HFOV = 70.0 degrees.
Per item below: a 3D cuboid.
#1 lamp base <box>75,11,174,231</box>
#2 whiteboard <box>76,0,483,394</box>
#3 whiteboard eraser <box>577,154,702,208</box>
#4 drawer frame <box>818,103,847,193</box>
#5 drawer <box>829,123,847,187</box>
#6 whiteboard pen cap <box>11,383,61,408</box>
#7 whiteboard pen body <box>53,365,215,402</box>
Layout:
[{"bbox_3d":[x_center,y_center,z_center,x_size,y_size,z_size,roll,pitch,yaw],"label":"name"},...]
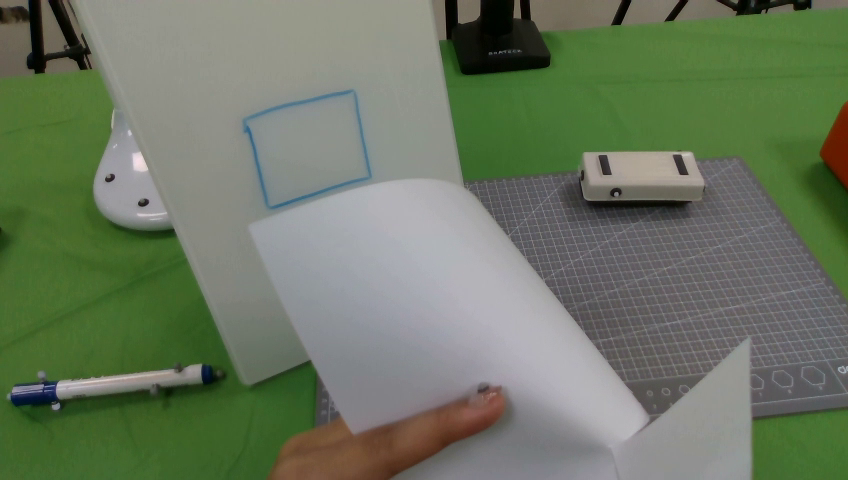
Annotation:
[{"bbox_3d":[-0.282,-0.126,0.602,0.178,0.182,0.160,25,51,28],"label":"lamp base"},{"bbox_3d":[-0.099,-0.073,0.493,0.217,0.308,0.142,-21,28,-16],"label":"whiteboard"},{"bbox_3d":[0.213,-0.058,0.606,0.112,0.042,0.055,0,44,3],"label":"whiteboard eraser"},{"bbox_3d":[0.521,-0.044,0.552,0.202,0.083,0.211,-5,44,-1],"label":"drawer frame"},{"bbox_3d":[0.522,-0.039,0.548,0.194,0.074,0.209,-4,44,0],"label":"drawer"},{"bbox_3d":[-0.296,0.119,0.466,0.033,0.018,0.018,-4,44,-10],"label":"whiteboard pen cap"},{"bbox_3d":[-0.237,0.113,0.473,0.141,0.017,0.017,-5,45,-8],"label":"whiteboard pen body"}]
